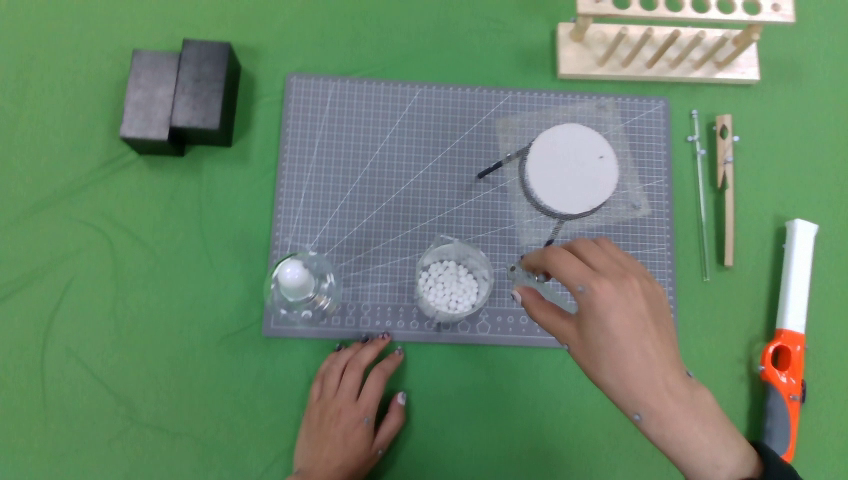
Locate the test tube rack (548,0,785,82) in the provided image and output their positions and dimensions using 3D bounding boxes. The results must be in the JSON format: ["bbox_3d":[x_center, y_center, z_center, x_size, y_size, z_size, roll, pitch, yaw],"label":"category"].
[{"bbox_3d":[0.274,-0.234,0.697,0.242,0.085,0.066,0,78,-3],"label":"test tube rack"}]

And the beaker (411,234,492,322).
[{"bbox_3d":[0.022,0.043,0.615,0.074,0.100,0.083,-19,79,-7],"label":"beaker"}]

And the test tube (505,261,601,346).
[{"bbox_3d":[0.111,0.056,0.501,0.017,0.152,0.017,-23,49,29],"label":"test tube"}]

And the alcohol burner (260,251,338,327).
[{"bbox_3d":[-0.125,0.045,0.598,0.078,0.119,0.077,1,76,-2],"label":"alcohol burner"}]

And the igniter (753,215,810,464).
[{"bbox_3d":[0.395,0.107,0.665,0.057,0.025,0.275,15,78,-10],"label":"igniter"}]

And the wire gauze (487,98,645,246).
[{"bbox_3d":[0.129,-0.066,0.558,0.121,0.011,0.124,-12,79,-5],"label":"wire gauze"}]

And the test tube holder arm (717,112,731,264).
[{"bbox_3d":[0.345,-0.061,0.698,0.013,0.015,0.177,-5,77,30],"label":"test tube holder arm"}]

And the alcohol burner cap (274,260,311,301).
[{"bbox_3d":[-0.124,0.035,0.564,0.034,0.048,0.033,2,69,-4],"label":"alcohol burner cap"}]

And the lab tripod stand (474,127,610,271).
[{"bbox_3d":[0.121,-0.050,0.623,0.148,0.132,0.147,0,79,-1],"label":"lab tripod stand"}]

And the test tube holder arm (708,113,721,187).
[{"bbox_3d":[0.341,-0.105,0.710,0.010,0.015,0.087,-5,77,30],"label":"test tube holder arm"}]

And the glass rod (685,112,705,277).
[{"bbox_3d":[0.313,-0.055,0.701,0.008,0.008,0.199,1,78,-3],"label":"glass rod"}]
